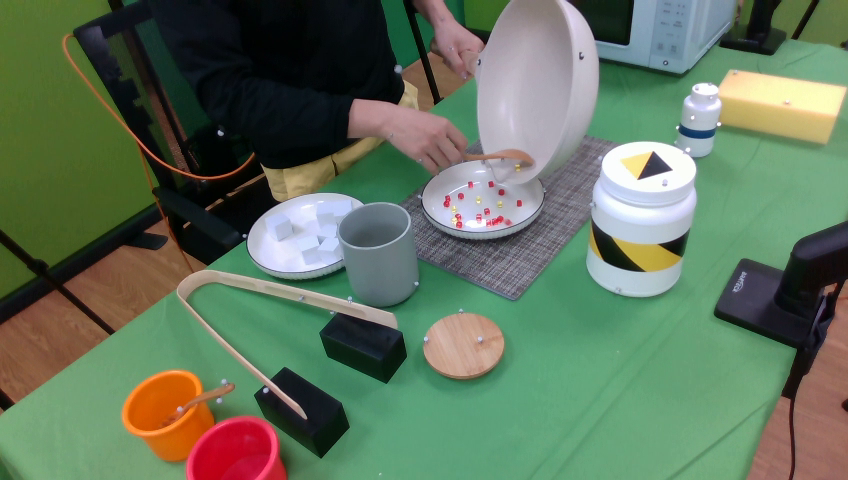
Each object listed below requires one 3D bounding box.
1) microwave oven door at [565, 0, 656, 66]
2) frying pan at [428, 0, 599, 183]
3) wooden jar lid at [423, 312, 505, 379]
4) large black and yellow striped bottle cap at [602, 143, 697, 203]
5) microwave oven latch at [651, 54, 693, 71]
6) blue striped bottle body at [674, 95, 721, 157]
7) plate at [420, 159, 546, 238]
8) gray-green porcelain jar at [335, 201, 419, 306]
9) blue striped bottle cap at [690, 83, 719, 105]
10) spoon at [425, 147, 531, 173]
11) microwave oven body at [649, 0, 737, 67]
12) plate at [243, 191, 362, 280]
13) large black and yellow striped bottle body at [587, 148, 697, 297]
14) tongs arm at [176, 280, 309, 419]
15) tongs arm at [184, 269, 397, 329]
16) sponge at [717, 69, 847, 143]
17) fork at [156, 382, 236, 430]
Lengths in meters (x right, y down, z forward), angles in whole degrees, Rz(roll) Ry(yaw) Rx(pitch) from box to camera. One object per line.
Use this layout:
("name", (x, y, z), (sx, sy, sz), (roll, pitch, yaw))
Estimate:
("microwave oven door", (0.351, -0.539, 1.348), (0.353, 0.245, 0.039), (24, 50, 31))
("frying pan", (0.125, -0.284, 1.019), (0.103, 0.307, 0.483), (-5, 32, -30))
("wooden jar lid", (0.053, 0.142, 0.800), (0.108, 0.021, 0.108), (-4, 40, 4))
("large black and yellow striped bottle cap", (0.289, -0.088, 0.778), (0.115, 0.019, 0.114), (-5, 40, 4))
("microwave oven latch", (0.532, -0.386, 1.301), (0.078, 0.029, 0.030), (26, 52, 34))
("blue striped bottle body", (0.486, -0.213, 1.072), (0.063, 0.121, 0.063), (-4, 41, 4))
("plate", (0.099, -0.068, 1.017), (0.209, 0.038, 0.208), (-4, 40, 4))
("gray-green porcelain jar", (-0.064, 0.024, 0.872), (0.106, 0.127, 0.105), (-4, 41, 4))
("blue striped bottle cap", (0.481, -0.251, 1.038), (0.044, 0.021, 0.044), (-5, 39, 5))
("spoon", (0.090, -0.132, 0.963), (0.195, 0.041, 0.021), (5, -3, -31))
("microwave oven body", (0.475, -0.602, 1.411), (0.438, 0.261, 0.327), (23, 50, 32))
("plate", (-0.187, -0.005, 0.992), (0.207, 0.039, 0.206), (-3, 40, 3))
("large black and yellow striped bottle body", (0.298, -0.026, 0.834), (0.131, 0.185, 0.130), (-4, 41, 4))
("tongs arm", (-0.254, 0.133, 0.801), (0.028, 0.028, 0.384), (-41, 40, -23))
("tongs arm", (-0.203, 0.085, 0.847), (0.382, 0.027, 0.051), (11, 45, 35))
("sponge", (0.663, -0.256, 1.142), (0.205, 0.061, 0.118), (19, 47, 28))
("fork", (-0.262, 0.189, 0.690), (0.018, 0.206, 0.028), (49, 43, -7))
